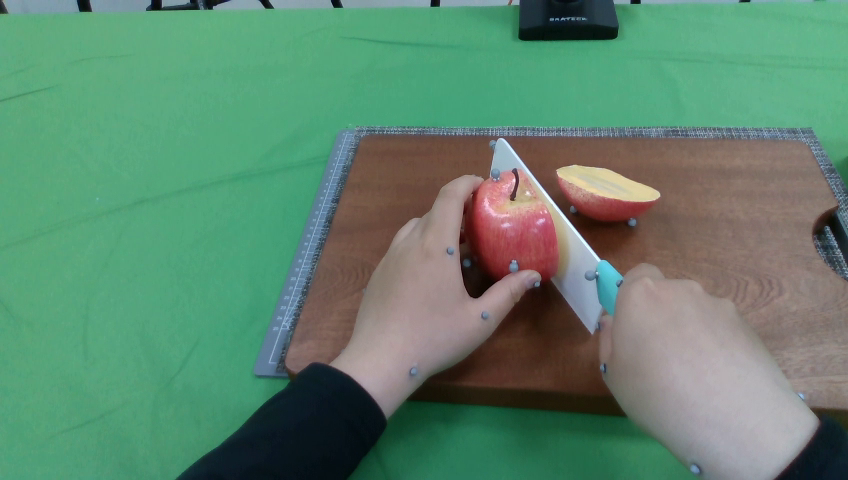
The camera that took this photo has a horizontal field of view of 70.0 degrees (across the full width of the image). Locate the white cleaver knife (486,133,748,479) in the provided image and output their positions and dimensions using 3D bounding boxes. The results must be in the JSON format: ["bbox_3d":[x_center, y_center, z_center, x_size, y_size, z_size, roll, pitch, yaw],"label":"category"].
[{"bbox_3d":[0.106,0.025,0.396,0.021,0.066,0.283,-14,46,-13],"label":"white cleaver knife"}]

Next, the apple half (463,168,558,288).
[{"bbox_3d":[0.055,-0.004,0.424,0.053,0.075,0.080,-17,50,-6],"label":"apple half"}]

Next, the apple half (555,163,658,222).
[{"bbox_3d":[0.134,-0.031,0.466,0.081,0.033,0.080,10,26,-4],"label":"apple half"}]
